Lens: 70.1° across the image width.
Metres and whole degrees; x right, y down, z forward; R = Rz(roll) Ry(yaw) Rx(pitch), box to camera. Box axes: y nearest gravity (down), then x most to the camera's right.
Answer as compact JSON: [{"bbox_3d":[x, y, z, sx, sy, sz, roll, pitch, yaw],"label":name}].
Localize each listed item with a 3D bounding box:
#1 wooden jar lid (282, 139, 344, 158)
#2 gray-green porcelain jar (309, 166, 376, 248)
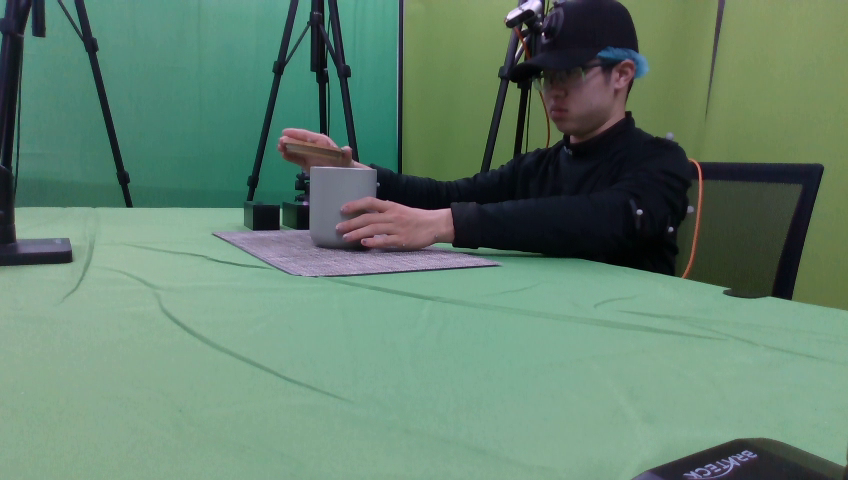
[{"bbox_3d":[-0.196,-0.160,1.066,0.108,0.020,0.108,9,4,0],"label":"wooden jar lid"},{"bbox_3d":[-0.131,-0.054,0.966,0.106,0.126,0.106,2,7,0],"label":"gray-green porcelain jar"}]
